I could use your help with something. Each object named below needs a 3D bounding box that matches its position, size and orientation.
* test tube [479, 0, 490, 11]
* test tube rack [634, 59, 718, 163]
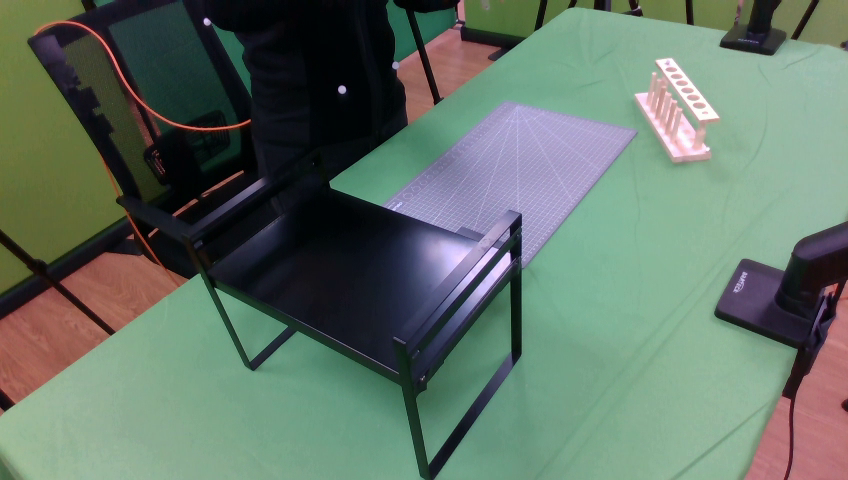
[{"bbox_3d":[0.083,-0.409,0.951,0.017,0.151,0.017,-4,75,17],"label":"test tube"},{"bbox_3d":[0.470,-0.251,1.148,0.067,0.085,0.241,-6,40,3],"label":"test tube rack"}]
